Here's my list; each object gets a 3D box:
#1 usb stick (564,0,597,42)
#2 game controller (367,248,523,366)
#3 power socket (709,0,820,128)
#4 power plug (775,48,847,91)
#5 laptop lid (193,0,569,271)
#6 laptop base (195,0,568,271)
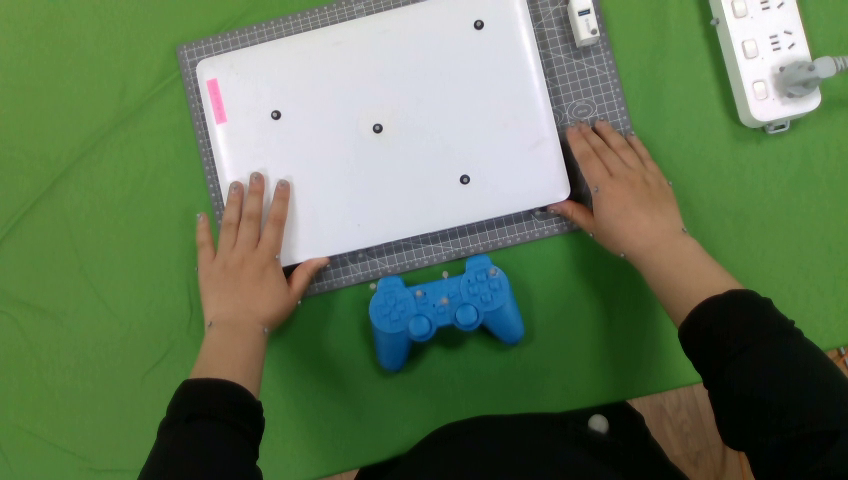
[{"bbox_3d":[0.158,-0.236,0.619,0.021,0.027,0.059,-14,85,6],"label":"usb stick"},{"bbox_3d":[0.018,0.067,0.615,0.155,0.052,0.097,-13,83,3],"label":"game controller"},{"bbox_3d":[0.331,-0.226,0.606,0.072,0.032,0.226,-13,88,5],"label":"power socket"},{"bbox_3d":[0.376,-0.162,0.582,0.072,0.053,0.035,-2,87,0],"label":"power plug"},{"bbox_3d":[-0.048,-0.118,0.622,0.356,0.013,0.241,-12,88,4],"label":"laptop lid"},{"bbox_3d":[-0.047,-0.120,0.637,0.354,0.023,0.235,-14,91,3],"label":"laptop base"}]
